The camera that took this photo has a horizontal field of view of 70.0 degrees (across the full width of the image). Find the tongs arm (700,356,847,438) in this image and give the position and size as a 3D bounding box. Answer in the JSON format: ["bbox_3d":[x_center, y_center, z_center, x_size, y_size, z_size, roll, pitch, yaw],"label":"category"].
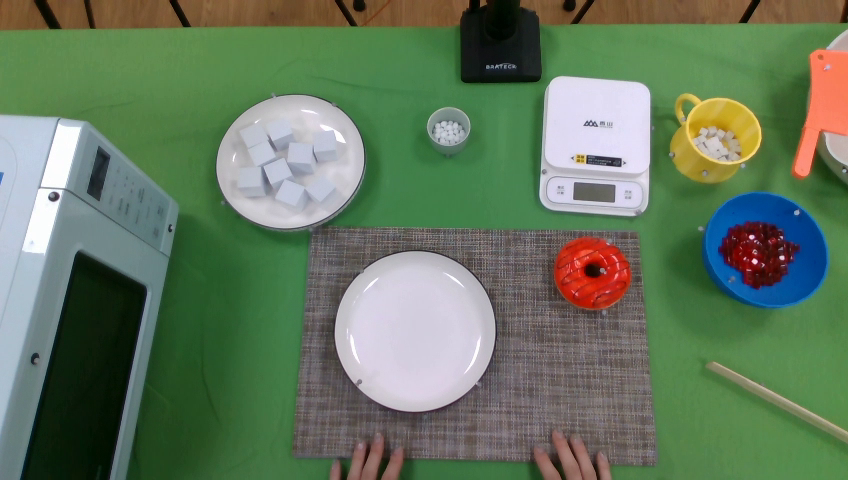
[{"bbox_3d":[0.517,0.246,0.733,0.386,0.028,0.028,30,68,10],"label":"tongs arm"}]

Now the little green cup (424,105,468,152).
[{"bbox_3d":[0.032,-0.157,0.863,0.061,0.039,0.061,0,72,2],"label":"little green cup"}]

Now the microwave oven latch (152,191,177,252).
[{"bbox_3d":[-0.354,-0.026,0.813,0.030,0.029,0.078,5,74,3],"label":"microwave oven latch"}]

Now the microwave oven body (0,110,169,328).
[{"bbox_3d":[-0.517,0.105,0.676,0.326,0.261,0.439,3,74,2],"label":"microwave oven body"}]

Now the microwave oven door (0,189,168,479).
[{"bbox_3d":[-0.375,0.152,0.652,0.039,0.245,0.353,3,73,3],"label":"microwave oven door"}]

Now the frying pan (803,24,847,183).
[{"bbox_3d":[0.709,-0.091,0.792,0.307,0.103,0.483,-25,66,-5],"label":"frying pan"}]

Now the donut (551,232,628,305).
[{"bbox_3d":[0.215,0.038,0.792,0.099,0.048,0.098,-1,73,3],"label":"donut"}]

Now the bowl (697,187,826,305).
[{"bbox_3d":[0.418,0.016,0.781,0.151,0.077,0.150,0,73,2],"label":"bowl"}]

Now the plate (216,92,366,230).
[{"bbox_3d":[-0.184,-0.109,0.854,0.207,0.039,0.206,0,73,1],"label":"plate"}]

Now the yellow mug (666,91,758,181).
[{"bbox_3d":[0.386,-0.153,0.839,0.100,0.064,0.130,-30,74,-7],"label":"yellow mug"}]

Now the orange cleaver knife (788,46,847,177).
[{"bbox_3d":[0.532,-0.173,0.803,0.077,0.012,0.210,19,75,8],"label":"orange cleaver knife"}]

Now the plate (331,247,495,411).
[{"bbox_3d":[-0.014,0.112,0.778,0.209,0.038,0.208,0,73,2],"label":"plate"}]

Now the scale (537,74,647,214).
[{"bbox_3d":[0.239,-0.139,0.856,0.148,0.032,0.200,5,74,3],"label":"scale"}]
